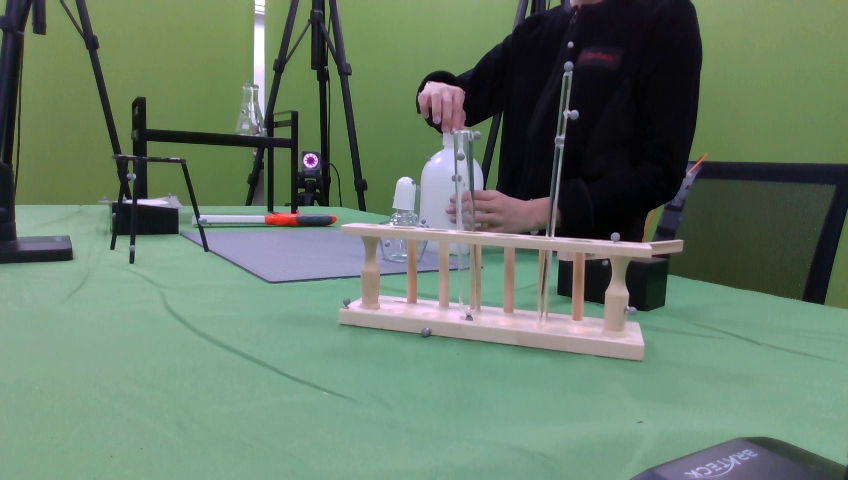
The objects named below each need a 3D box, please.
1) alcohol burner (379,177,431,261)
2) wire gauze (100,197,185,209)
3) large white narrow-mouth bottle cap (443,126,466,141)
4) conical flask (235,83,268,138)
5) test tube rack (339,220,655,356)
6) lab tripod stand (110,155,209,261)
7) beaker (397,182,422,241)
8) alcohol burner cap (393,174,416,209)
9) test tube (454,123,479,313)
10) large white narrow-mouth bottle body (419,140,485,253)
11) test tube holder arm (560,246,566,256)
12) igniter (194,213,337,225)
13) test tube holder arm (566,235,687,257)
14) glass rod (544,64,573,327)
[{"bbox_3d":[-0.027,-0.031,0.838,0.078,0.119,0.078,0,6,0],"label":"alcohol burner"},{"bbox_3d":[-0.469,-0.062,1.008,0.126,0.011,0.121,-2,8,-25],"label":"wire gauze"},{"bbox_3d":[0.047,-0.166,0.944,0.038,0.024,0.037,2,8,0],"label":"large white narrow-mouth bottle cap"},{"bbox_3d":[-0.402,-0.299,1.406,0.075,0.122,0.075,2,7,0],"label":"conical flask"},{"bbox_3d":[0.056,0.032,0.495,0.242,0.085,0.067,4,7,15],"label":"test tube rack"},{"bbox_3d":[-0.361,-0.046,0.806,0.148,0.131,0.148,2,5,0],"label":"lab tripod stand"},{"bbox_3d":[-0.011,-0.051,1.078,0.074,0.100,0.083,-2,9,-27],"label":"beaker"},{"bbox_3d":[-0.025,-0.067,0.834,0.034,0.048,0.034,8,7,-1],"label":"alcohol burner cap"},{"bbox_3d":[0.034,-0.016,0.477,0.017,0.150,0.017,-2,9,1],"label":"test tube"},{"bbox_3d":[0.046,-0.081,0.956,0.102,0.194,0.102,2,8,0],"label":"large white narrow-mouth bottle body"},{"bbox_3d":[0.173,0.007,0.612,0.088,0.015,0.010,-3,9,-30],"label":"test tube holder arm"},{"bbox_3d":[-0.306,-0.042,1.196,0.278,0.025,0.057,-2,-2,-30],"label":"igniter"},{"bbox_3d":[0.215,0.006,0.630,0.179,0.015,0.013,-3,9,-31],"label":"test tube holder arm"},{"bbox_3d":[0.101,-0.028,0.453,0.008,0.199,0.008,2,14,0],"label":"glass rod"}]
